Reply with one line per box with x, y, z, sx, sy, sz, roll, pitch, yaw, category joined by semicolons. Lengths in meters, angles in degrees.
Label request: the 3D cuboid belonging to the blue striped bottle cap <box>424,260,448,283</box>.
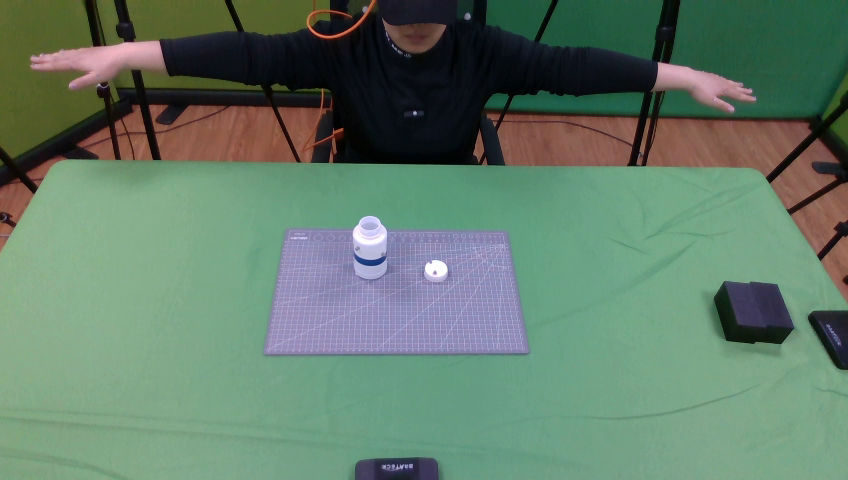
0.022;0.059;1.145;0.044;0.021;0.044;2;47;-2;blue striped bottle cap

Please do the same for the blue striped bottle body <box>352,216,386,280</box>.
-0.100;0.012;1.107;0.063;0.121;0.062;2;46;-2;blue striped bottle body
